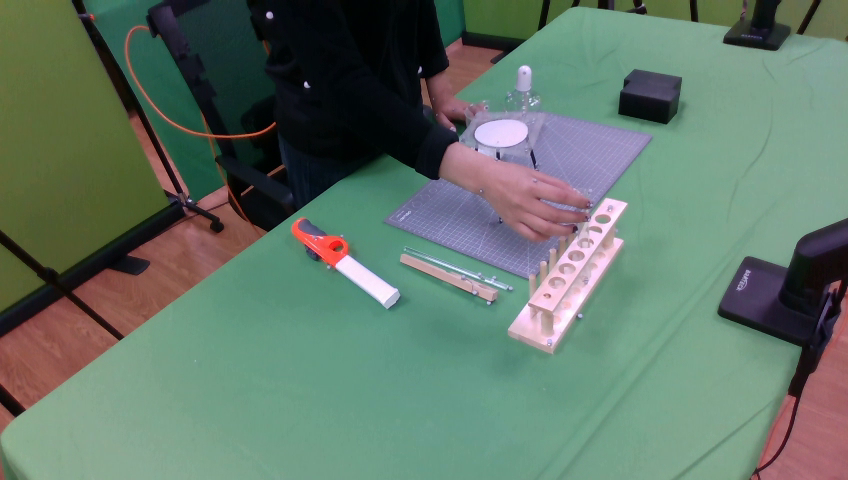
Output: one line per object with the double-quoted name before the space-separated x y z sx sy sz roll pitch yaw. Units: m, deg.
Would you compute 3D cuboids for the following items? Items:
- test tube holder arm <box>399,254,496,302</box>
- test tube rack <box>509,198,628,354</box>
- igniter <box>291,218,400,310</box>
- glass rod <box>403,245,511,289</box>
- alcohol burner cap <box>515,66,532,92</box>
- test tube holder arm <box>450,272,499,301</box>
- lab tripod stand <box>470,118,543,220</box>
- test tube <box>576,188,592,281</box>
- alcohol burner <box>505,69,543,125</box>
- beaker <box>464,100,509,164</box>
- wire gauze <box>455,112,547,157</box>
"test tube holder arm" 0.032 0.055 0.913 0.177 0.015 0.013 21 15 32
"test tube rack" 0.206 0.039 0.849 0.066 0.085 0.243 20 48 31
"igniter" -0.135 0.031 0.970 0.057 0.025 0.274 -41 49 -19
"glass rod" 0.047 0.040 0.938 0.198 0.008 0.008 21 49 30
"alcohol burner cap" 0.199 -0.319 1.192 0.034 0.048 0.033 -1 47 1
"test tube holder arm" 0.071 0.068 0.894 0.087 0.015 0.010 22 15 33
"lab tripod stand" 0.135 -0.128 1.019 0.148 0.132 0.147 -5 38 5
"test tube" 0.217 -0.004 0.816 0.017 0.151 0.017 -9 35 7
"alcohol burner" 0.201 -0.293 1.216 0.078 0.119 0.077 -4 41 4
"beaker" 0.120 -0.200 1.133 0.083 0.101 0.074 5 42 16
"wire gauze" 0.125 -0.176 0.973 0.124 0.011 0.121 10 42 22
